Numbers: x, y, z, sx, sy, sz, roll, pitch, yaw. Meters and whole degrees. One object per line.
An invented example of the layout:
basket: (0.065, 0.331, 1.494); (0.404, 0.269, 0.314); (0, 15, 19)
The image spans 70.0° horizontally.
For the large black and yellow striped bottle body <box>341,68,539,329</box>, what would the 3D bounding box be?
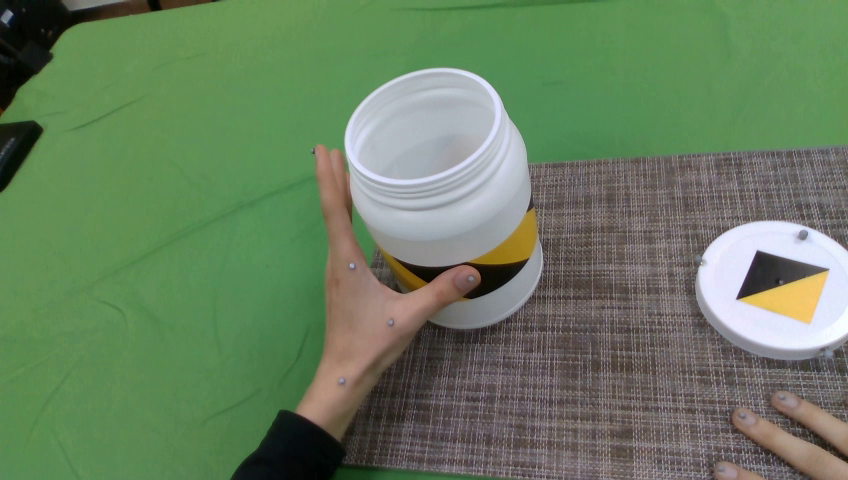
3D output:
large black and yellow striped bottle body: (0.017, -0.026, 0.470); (0.130, 0.186, 0.129); (-8, 54, 11)

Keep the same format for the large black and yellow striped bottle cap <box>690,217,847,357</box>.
large black and yellow striped bottle cap: (0.266, 0.033, 0.462); (0.115, 0.019, 0.114); (-8, 55, 11)
